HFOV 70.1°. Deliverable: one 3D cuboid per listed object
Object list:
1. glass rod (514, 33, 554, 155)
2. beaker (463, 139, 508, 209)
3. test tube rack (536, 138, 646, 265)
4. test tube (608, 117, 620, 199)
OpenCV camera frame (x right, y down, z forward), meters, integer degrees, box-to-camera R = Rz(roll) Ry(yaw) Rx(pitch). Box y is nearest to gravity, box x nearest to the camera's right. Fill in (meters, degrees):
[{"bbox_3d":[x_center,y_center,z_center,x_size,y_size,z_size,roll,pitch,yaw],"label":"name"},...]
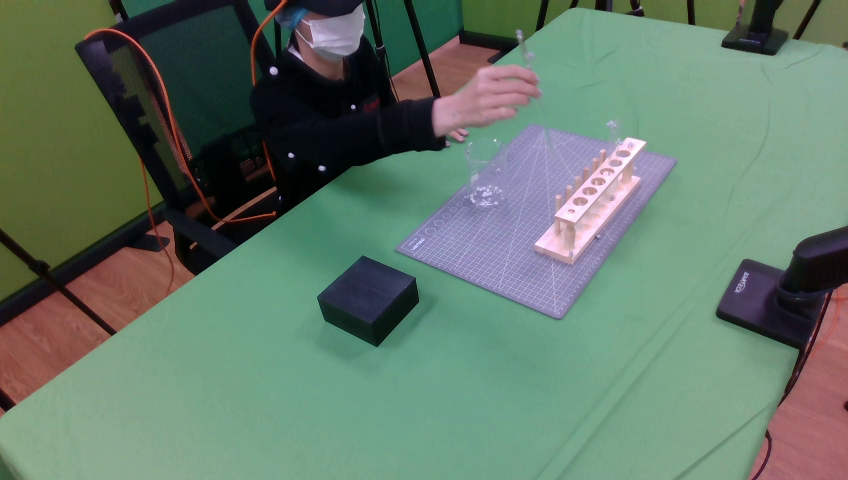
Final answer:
[{"bbox_3d":[0.154,-0.195,0.834,0.008,0.201,0.008,-16,41,15],"label":"glass rod"},{"bbox_3d":[0.108,-0.111,1.027,0.073,0.101,0.084,25,49,33],"label":"beaker"},{"bbox_3d":[0.268,-0.071,0.964,0.066,0.085,0.243,23,49,32],"label":"test tube rack"},{"bbox_3d":[0.298,-0.125,0.946,0.017,0.151,0.017,-8,42,8],"label":"test tube"}]
